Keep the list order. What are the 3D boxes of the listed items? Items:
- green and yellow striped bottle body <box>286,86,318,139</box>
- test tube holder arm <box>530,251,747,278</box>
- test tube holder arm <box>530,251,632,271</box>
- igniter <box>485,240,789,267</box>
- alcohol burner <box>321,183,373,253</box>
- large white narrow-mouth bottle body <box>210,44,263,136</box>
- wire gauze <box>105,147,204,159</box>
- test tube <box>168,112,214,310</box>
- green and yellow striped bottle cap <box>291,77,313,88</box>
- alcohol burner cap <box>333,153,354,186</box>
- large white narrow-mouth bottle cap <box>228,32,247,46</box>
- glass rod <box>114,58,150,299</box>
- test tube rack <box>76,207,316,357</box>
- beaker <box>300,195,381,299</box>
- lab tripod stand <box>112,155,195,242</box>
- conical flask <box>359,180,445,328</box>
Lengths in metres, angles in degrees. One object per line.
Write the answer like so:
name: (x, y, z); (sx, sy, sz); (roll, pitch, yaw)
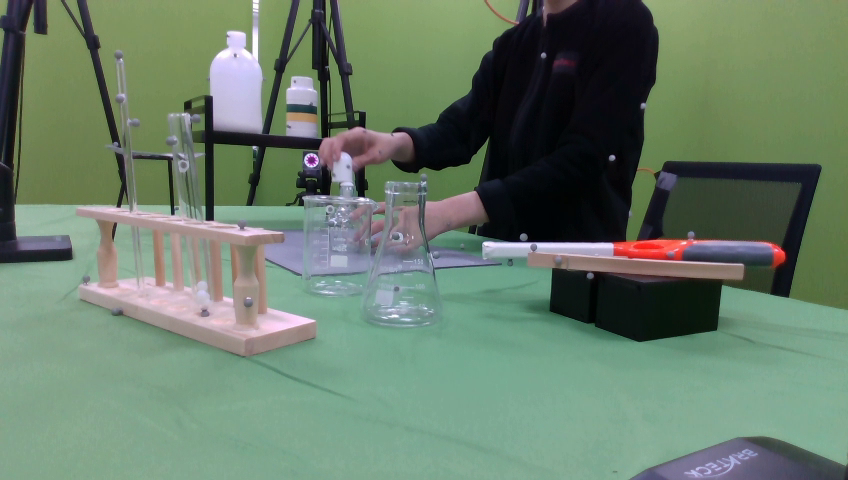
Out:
green and yellow striped bottle body: (-0.251, -0.270, 1.245); (0.063, 0.119, 0.063); (2, 7, 0)
test tube holder arm: (0.182, 0.022, 0.523); (0.178, 0.015, 0.013); (3, 6, 12)
test tube holder arm: (0.139, 0.019, 0.538); (0.087, 0.015, 0.010); (3, 6, 13)
igniter: (0.197, 0.012, 0.585); (0.276, 0.025, 0.057); (1, 5, 12)
alcohol burner: (-0.115, -0.041, 0.905); (0.078, 0.119, 0.078); (0, 6, 0)
large white narrow-mouth bottle body: (-0.369, -0.305, 1.194); (0.102, 0.194, 0.102); (3, 8, 0)
wire gauze: (-0.407, -0.131, 0.928); (0.125, 0.011, 0.121); (2, 6, -11)
test tube: (-0.175, -0.020, 0.455); (0.017, 0.150, 0.017); (-4, 9, 1)
green and yellow striped bottle cap: (-0.250, -0.321, 1.238); (0.045, 0.020, 0.045); (4, 6, 0)
alcohol burner cap: (-0.121, -0.106, 0.904); (0.034, 0.048, 0.034); (-2, 3, 0)
large white narrow-mouth bottle cap: (-0.364, -0.390, 1.180); (0.038, 0.024, 0.037); (3, 8, 0)
glass rod: (-0.237, -0.044, 0.492); (0.008, 0.199, 0.008); (1, 15, 0)
test tube rack: (-0.196, 0.023, 0.500); (0.241, 0.085, 0.067); (8, 9, 36)
beaker: (-0.087, 0.006, 0.626); (0.084, 0.100, 0.074); (1, 8, -17)
lab tripod stand: (-0.405, -0.064, 0.931); (0.148, 0.131, 0.148); (1, 6, 0)
conical flask: (-0.017, 0.010, 0.522); (0.075, 0.122, 0.075); (2, 7, 0)
